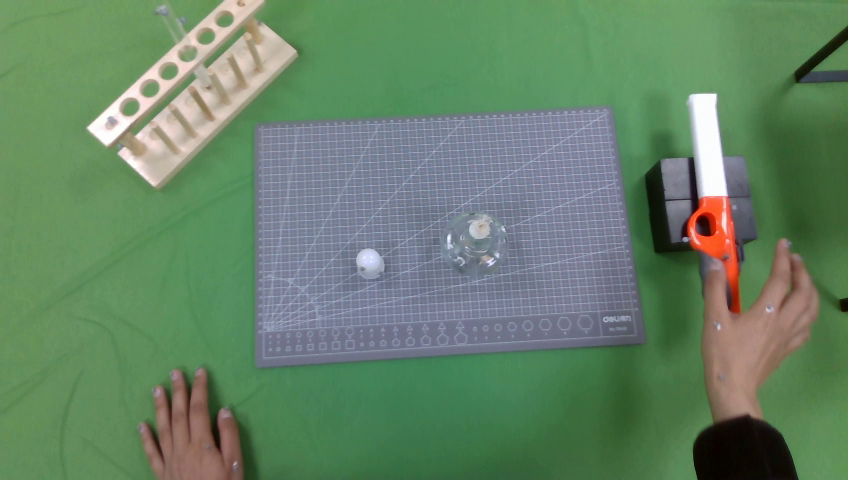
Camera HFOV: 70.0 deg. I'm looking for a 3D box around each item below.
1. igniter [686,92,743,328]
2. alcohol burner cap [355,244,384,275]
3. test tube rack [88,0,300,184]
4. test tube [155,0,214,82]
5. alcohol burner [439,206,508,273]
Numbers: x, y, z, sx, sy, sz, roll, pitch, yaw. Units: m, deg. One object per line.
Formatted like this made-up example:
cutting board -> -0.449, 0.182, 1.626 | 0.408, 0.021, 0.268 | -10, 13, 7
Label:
igniter -> 0.323, -0.038, 0.682 | 0.057, 0.025, 0.275 | 0, 76, 6
alcohol burner cap -> -0.064, 0.021, 0.697 | 0.034, 0.048, 0.033 | 0, 76, 1
test tube rack -> -0.263, -0.185, 0.718 | 0.066, 0.085, 0.242 | 41, 79, 8
test tube -> -0.264, -0.222, 0.676 | 0.017, 0.151, 0.017 | 0, 72, -1
alcohol burner -> 0.057, -0.005, 0.669 | 0.078, 0.119, 0.077 | 1, 75, -2
